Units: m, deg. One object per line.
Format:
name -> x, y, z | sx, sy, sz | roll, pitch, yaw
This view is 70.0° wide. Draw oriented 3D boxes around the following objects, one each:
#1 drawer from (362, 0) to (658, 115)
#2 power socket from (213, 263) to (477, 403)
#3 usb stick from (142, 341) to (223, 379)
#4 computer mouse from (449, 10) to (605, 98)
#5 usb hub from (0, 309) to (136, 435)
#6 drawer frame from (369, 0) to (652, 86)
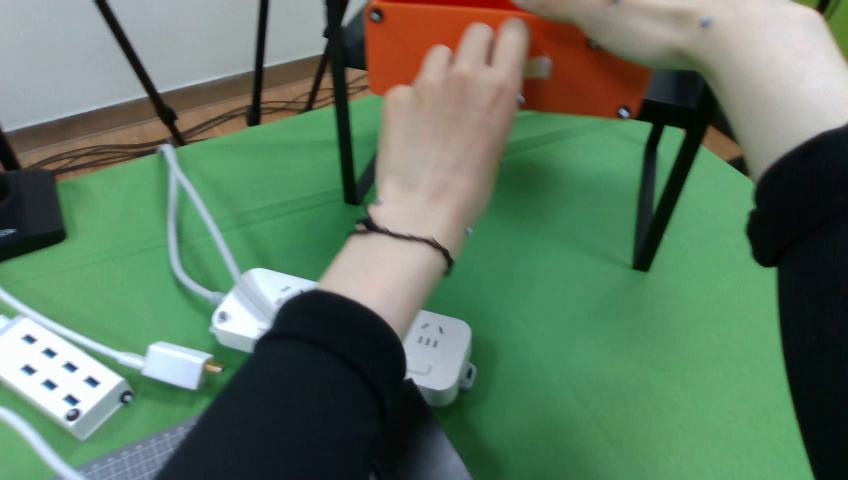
drawer -> 0.068, -0.193, 0.484 | 0.194, 0.074, 0.210 | 6, 46, 5
power socket -> -0.067, 0.074, 0.505 | 0.226, 0.033, 0.072 | 14, 47, 12
usb stick -> -0.190, 0.096, 0.482 | 0.059, 0.021, 0.027 | 9, 87, -12
computer mouse -> 0.078, -0.151, 0.465 | 0.116, 0.041, 0.063 | 31, 52, 30
usb hub -> -0.292, 0.101, 0.477 | 0.124, 0.025, 0.049 | 23, 50, 20
drawer frame -> 0.073, -0.226, 0.514 | 0.201, 0.083, 0.211 | 6, 46, 5
